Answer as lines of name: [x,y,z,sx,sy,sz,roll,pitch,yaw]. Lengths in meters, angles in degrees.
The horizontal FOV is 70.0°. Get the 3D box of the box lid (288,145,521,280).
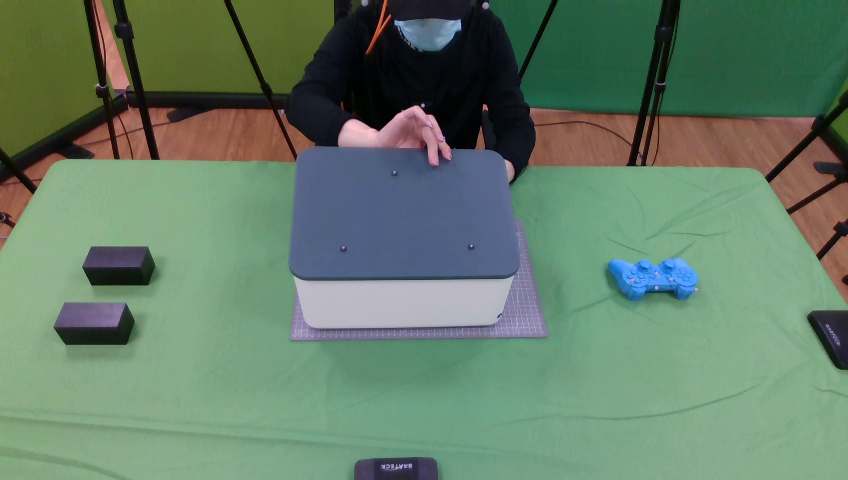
box lid: [-0.030,-0.052,1.000,0.372,0.015,0.261,0,59,-5]

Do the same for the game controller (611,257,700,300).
game controller: [0.441,0.063,1.144,0.155,0.052,0.096,-1,50,-4]

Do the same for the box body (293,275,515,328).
box body: [-0.036,0.015,1.075,0.364,0.161,0.252,-1,47,-4]
